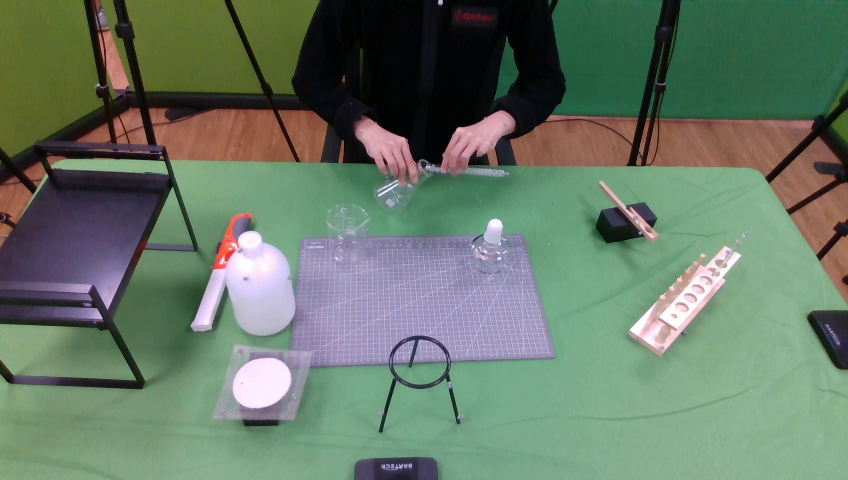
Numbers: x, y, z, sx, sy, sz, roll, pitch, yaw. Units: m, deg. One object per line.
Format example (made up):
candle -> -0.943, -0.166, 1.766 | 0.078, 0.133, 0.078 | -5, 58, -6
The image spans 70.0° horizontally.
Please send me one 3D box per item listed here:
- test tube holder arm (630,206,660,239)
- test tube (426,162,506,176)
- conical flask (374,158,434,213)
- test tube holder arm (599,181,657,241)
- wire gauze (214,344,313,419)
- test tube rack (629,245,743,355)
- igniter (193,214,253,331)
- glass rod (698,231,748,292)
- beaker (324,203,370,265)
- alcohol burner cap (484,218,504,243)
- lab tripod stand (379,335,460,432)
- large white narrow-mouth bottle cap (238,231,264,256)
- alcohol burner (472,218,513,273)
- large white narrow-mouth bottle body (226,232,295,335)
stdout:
test tube holder arm -> 0.431, -0.034, 1.192 | 0.010, 0.015, 0.087 | -23, 51, -12
test tube -> 0.078, -0.133, 1.128 | 0.150, 0.017, 0.017 | 6, 46, 9
conical flask -> -0.035, -0.111, 1.174 | 0.076, 0.122, 0.075 | 30, 42, -31
test tube holder arm -> 0.407, -0.062, 1.219 | 0.013, 0.015, 0.177 | -23, 51, -13
wire gauze -> -0.241, 0.213, 0.915 | 0.121, 0.011, 0.124 | 5, 46, 1
test tube rack -> 0.474, 0.095, 1.091 | 0.242, 0.085, 0.066 | -34, 56, -31
igniter -> -0.368, 0.050, 1.119 | 0.057, 0.025, 0.275 | -3, 46, 8
glass rod -> 0.514, 0.044, 1.051 | 0.008, 0.200, 0.008 | 1, 55, -1
beaker -> -0.142, -0.009, 1.137 | 0.084, 0.101, 0.073 | -3, 47, -7
alcohol burner cap -> 0.130, -0.021, 1.106 | 0.034, 0.048, 0.033 | 3, 51, -4
lab tripod stand -> -0.010, 0.214, 0.911 | 0.148, 0.132, 0.147 | 1, 45, 0
large white narrow-mouth bottle cap -> -0.266, 0.006, 0.932 | 0.038, 0.024, 0.037 | 2, 46, -2
alcohol burner -> 0.128, 0.005, 1.132 | 0.078, 0.120, 0.077 | 0, 47, 0
large white narrow-mouth bottle body -> -0.270, 0.065, 0.995 | 0.102, 0.195, 0.101 | 2, 46, -2
